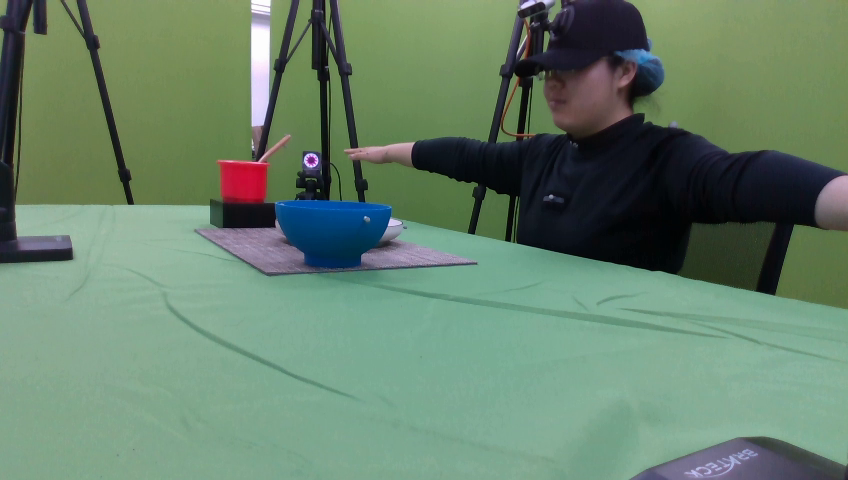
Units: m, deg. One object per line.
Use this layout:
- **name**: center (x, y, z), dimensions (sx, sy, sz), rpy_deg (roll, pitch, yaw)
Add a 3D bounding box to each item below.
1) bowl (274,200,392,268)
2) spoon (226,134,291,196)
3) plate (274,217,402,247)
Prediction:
- **bowl**: center (-0.117, -0.008, 0.781), dimensions (0.151, 0.077, 0.151), rpy_deg (3, 7, 0)
- **spoon**: center (-0.320, -0.149, 1.187), dimensions (0.041, 0.022, 0.194), rpy_deg (8, 53, 36)
- **plate**: center (-0.140, -0.015, 0.993), dimensions (0.208, 0.039, 0.207), rpy_deg (3, 7, 0)
